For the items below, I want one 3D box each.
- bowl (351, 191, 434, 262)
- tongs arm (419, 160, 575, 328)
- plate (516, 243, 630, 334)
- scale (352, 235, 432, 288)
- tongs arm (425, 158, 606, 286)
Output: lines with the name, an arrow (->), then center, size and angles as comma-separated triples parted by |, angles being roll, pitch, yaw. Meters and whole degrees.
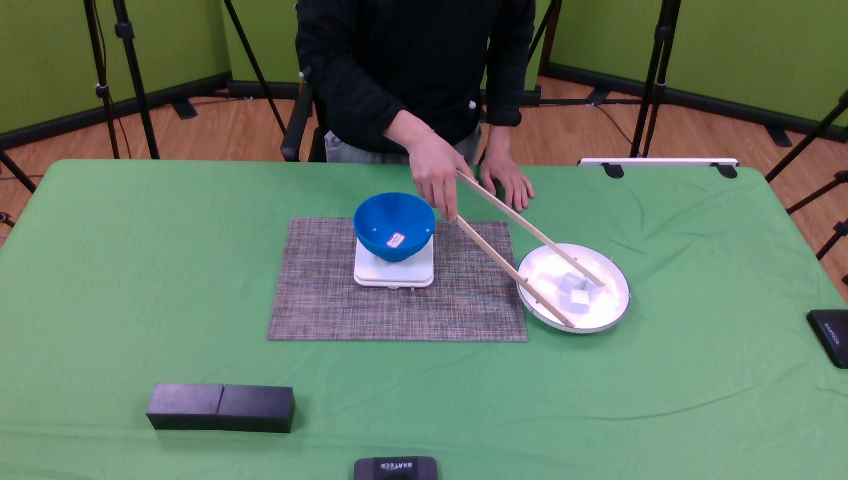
bowl -> -0.057, -0.013, 1.119 | 0.151, 0.077, 0.150 | 1, 46, -1
tongs arm -> 0.129, 0.007, 1.067 | 0.384, 0.026, 0.050 | 42, 72, 2
plate -> 0.272, 0.092, 1.120 | 0.208, 0.039, 0.206 | 2, 46, -2
scale -> -0.060, 0.010, 1.171 | 0.149, 0.032, 0.199 | 2, 46, -3
tongs arm -> 0.166, -0.034, 1.086 | 0.387, 0.028, 0.028 | 36, 76, 0
